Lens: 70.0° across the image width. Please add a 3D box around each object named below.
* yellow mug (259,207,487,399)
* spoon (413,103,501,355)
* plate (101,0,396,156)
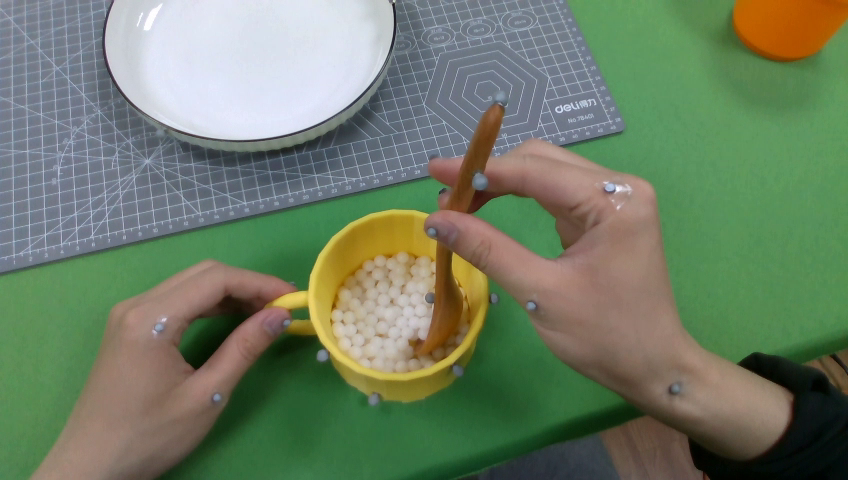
[{"bbox_3d":[-0.031,0.040,0.357,0.131,0.064,0.099,-5,66,-3],"label":"yellow mug"},{"bbox_3d":[0.012,0.008,0.296,0.021,0.195,0.041,27,57,15],"label":"spoon"},{"bbox_3d":[-0.123,-0.147,0.448,0.208,0.039,0.206,1,66,-2],"label":"plate"}]
